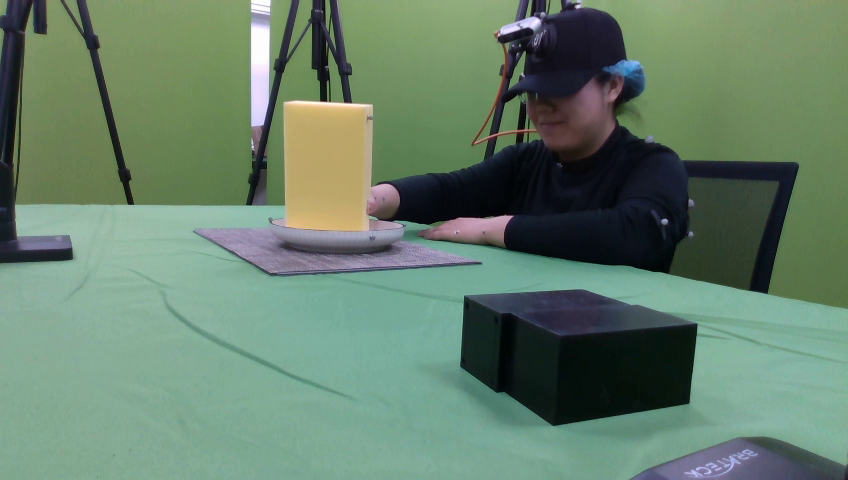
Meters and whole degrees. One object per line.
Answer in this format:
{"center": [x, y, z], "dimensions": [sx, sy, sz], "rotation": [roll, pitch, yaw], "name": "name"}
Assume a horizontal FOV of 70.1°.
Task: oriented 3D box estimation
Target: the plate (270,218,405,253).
{"center": [-0.134, -0.009, 0.946], "dimensions": [0.208, 0.039, 0.207], "rotation": [3, 7, 0], "name": "plate"}

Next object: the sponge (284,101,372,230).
{"center": [-0.143, -0.099, 0.901], "dimensions": [0.118, 0.206, 0.061], "rotation": [5, 16, 4], "name": "sponge"}
